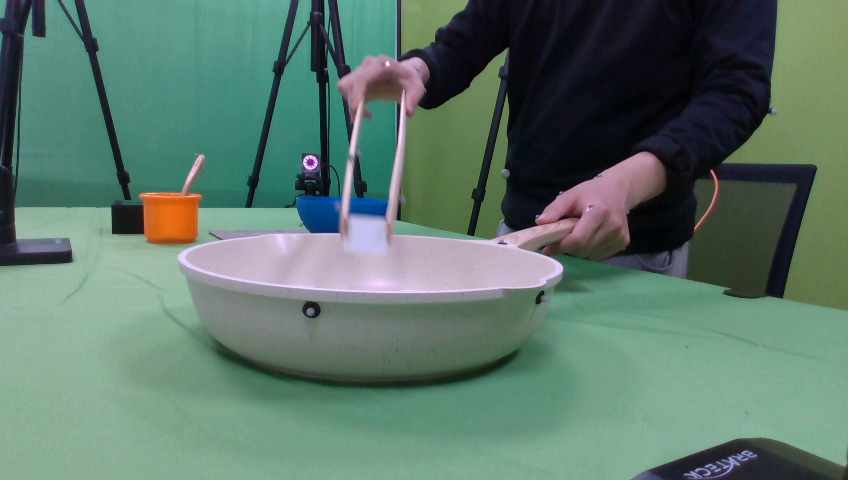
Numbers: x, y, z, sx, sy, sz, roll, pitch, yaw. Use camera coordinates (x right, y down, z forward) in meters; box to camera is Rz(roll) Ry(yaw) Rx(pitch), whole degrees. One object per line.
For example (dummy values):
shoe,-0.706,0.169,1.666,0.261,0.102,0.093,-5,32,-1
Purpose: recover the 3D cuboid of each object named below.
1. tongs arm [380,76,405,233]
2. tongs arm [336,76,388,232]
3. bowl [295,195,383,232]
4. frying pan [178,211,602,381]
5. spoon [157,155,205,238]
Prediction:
tongs arm,-0.038,-0.116,0.684,0.028,0.028,0.387,-2,32,1
tongs arm,-0.063,-0.117,0.684,0.051,0.026,0.384,-1,32,-4
bowl,-0.127,-0.027,0.946,0.151,0.077,0.151,2,7,0
frying pan,0.035,0.019,0.556,0.490,0.102,0.305,-16,18,-42
spoon,-0.392,-0.076,0.998,0.041,0.193,0.021,2,-36,5
